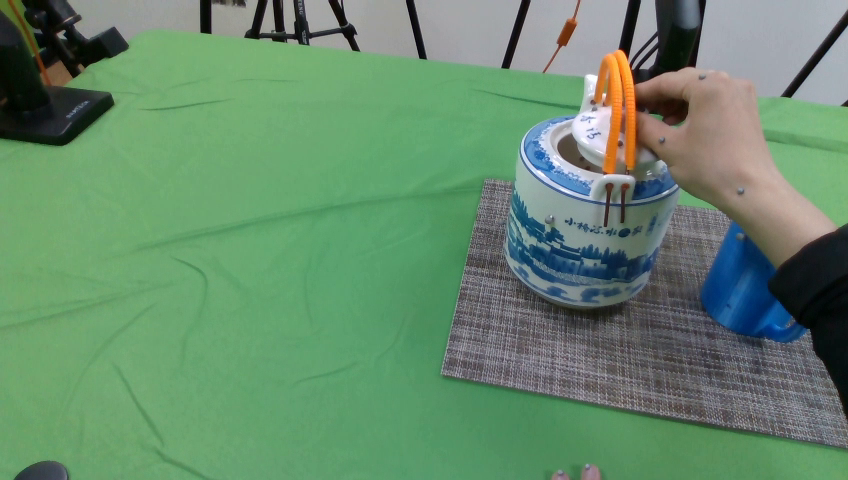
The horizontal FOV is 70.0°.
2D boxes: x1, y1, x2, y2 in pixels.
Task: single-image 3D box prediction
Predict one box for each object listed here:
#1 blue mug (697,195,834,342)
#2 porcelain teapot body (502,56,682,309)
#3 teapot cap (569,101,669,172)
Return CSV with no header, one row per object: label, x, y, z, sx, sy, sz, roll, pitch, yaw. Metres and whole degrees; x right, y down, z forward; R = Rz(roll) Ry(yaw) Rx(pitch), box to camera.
blue mug,0.312,0.034,0.548,0.082,0.107,0.115,-3,42,-5
porcelain teapot body,0.155,-0.073,0.573,0.145,0.227,0.203,4,41,2
teapot cap,0.163,-0.092,0.505,0.085,0.044,0.084,6,40,-5
